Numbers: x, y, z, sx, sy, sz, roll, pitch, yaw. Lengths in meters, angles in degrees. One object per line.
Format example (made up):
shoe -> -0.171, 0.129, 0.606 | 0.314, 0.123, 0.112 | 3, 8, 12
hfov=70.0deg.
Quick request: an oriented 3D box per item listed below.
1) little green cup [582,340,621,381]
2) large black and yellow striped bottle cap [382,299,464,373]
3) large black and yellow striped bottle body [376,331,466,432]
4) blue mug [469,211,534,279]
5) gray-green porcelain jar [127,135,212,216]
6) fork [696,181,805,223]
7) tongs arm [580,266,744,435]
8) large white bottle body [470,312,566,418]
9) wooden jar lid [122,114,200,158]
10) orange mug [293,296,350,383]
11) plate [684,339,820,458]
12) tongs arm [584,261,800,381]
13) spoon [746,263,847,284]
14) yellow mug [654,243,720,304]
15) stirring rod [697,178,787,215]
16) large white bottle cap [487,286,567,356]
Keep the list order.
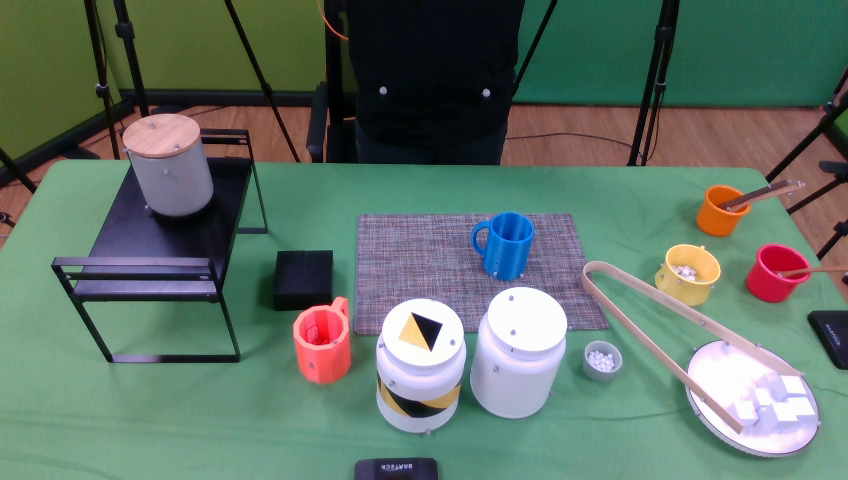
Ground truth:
little green cup -> 0.295, 0.204, 1.014 | 0.061, 0.039, 0.061 | 2, 45, -2
large black and yellow striped bottle cap -> -0.002, 0.132, 0.843 | 0.115, 0.019, 0.114 | 2, 46, -1
large black and yellow striped bottle body -> -0.007, 0.189, 0.905 | 0.131, 0.185, 0.130 | 2, 46, -2
blue mug -> 0.141, 0.005, 1.140 | 0.116, 0.106, 0.082 | 18, 48, 13
gray-green porcelain jar -> -0.394, -0.109, 0.949 | 0.106, 0.127, 0.105 | 3, 46, -3
fork -> 0.659, -0.077, 1.232 | 0.207, 0.019, 0.028 | -26, 35, 34
tongs arm -> 0.384, 0.173, 1.028 | 0.028, 0.028, 0.385 | -25, 46, -15
large white bottle body -> 0.143, 0.173, 0.930 | 0.131, 0.185, 0.130 | 2, 46, -2
wooden jar lid -> -0.390, -0.152, 0.904 | 0.108, 0.021, 0.107 | 3, 45, -3
orange mug -> -0.157, 0.154, 0.985 | 0.083, 0.101, 0.125 | 17, 52, 11
plate -> 0.523, 0.256, 0.982 | 0.208, 0.039, 0.206 | 2, 46, -2
tongs arm -> 0.452, 0.137, 1.064 | 0.051, 0.027, 0.382 | -34, 50, -27
spoon -> 0.696, 0.057, 1.113 | 0.193, 0.022, 0.041 | -16, 27, 47
yellow mug -> 0.504, 0.054, 1.154 | 0.099, 0.064, 0.130 | 28, 50, 22
stirring rod -> 0.650, -0.088, 1.246 | 0.006, 0.176, 0.014 | 29, 49, -38
large white bottle cap -> 0.147, 0.114, 0.869 | 0.115, 0.018, 0.114 | 3, 46, -3
